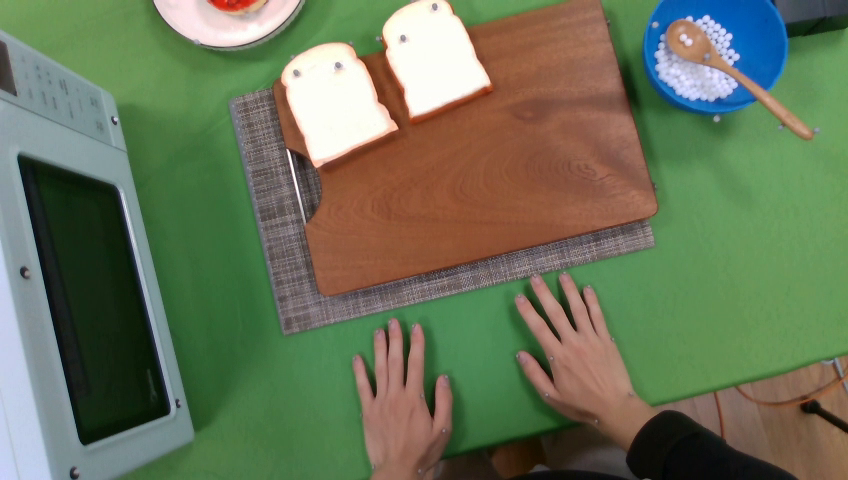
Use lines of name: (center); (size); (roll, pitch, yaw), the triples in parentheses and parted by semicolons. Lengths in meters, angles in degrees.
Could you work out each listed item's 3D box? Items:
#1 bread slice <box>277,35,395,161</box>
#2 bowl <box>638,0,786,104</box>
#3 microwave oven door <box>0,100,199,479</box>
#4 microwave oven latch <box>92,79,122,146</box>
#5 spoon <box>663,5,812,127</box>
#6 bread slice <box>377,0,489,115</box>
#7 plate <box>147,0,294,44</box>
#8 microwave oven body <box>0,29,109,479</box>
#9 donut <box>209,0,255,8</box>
bread slice: (-0.111, -0.169, 0.706); (0.107, 0.018, 0.134); (-29, 84, 1)
bowl: (0.307, -0.217, 0.676); (0.151, 0.077, 0.151); (0, 86, 4)
microwave oven door: (-0.339, 0.051, 0.609); (0.039, 0.244, 0.355); (-17, 85, 3)
microwave oven latch: (-0.391, -0.150, 0.728); (0.030, 0.029, 0.079); (-16, 86, 3)
spoon: (0.329, -0.184, 0.641); (0.041, 0.022, 0.192); (-41, 66, 6)
bread slice: (0.002, -0.223, 0.702); (0.105, 0.019, 0.131); (-24, 85, 1)
plate: (-0.245, -0.340, 0.747); (0.207, 0.039, 0.207); (0, 86, 4)
microwave oven body: (-0.491, 0.054, 0.626); (0.326, 0.260, 0.440); (-17, 86, 3)
donut: (-0.235, -0.331, 0.734); (0.099, 0.048, 0.099); (0, 87, 8)
